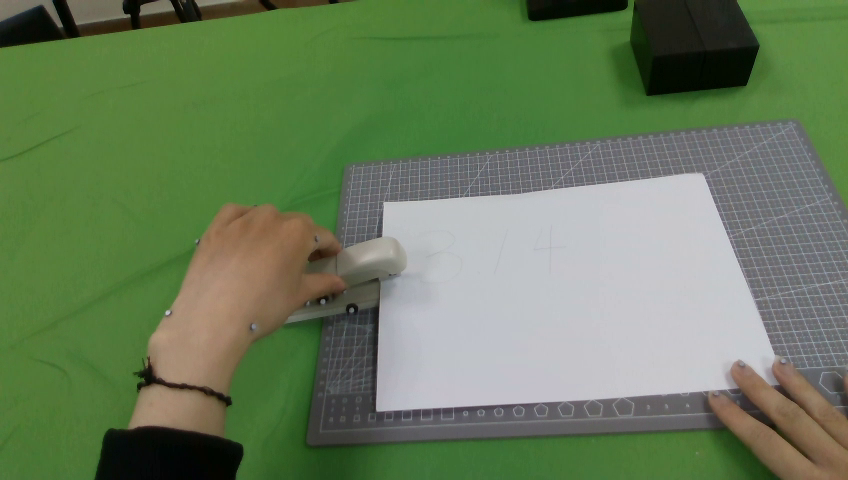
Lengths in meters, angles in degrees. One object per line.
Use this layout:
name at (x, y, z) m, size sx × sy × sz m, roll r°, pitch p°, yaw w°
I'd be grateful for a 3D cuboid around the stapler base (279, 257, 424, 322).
stapler base at (-0.067, 0.038, 0.528) m, size 0.130 × 0.025 × 0.041 m, roll -12°, pitch 50°, yaw 4°

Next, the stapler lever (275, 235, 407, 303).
stapler lever at (-0.072, 0.024, 0.509) m, size 0.118 × 0.040 × 0.026 m, roll -12°, pitch 50°, yaw 3°
